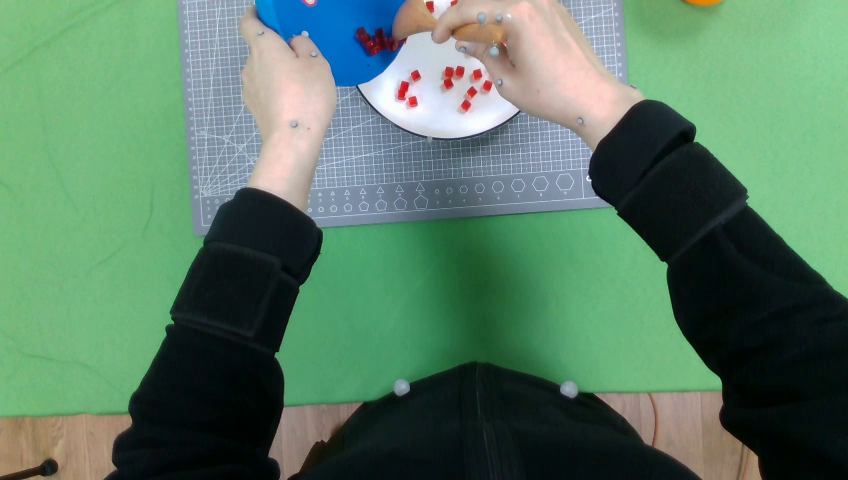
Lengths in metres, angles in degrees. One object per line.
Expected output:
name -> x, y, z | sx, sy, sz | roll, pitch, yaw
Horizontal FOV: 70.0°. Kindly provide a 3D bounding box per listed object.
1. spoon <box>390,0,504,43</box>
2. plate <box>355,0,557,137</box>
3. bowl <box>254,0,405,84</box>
spoon -> 0.013, -0.163, 0.453 | 0.022, 0.191, 0.041 | 24, 100, -34
plate -> 0.024, -0.204, 0.595 | 0.209, 0.038, 0.209 | 0, 91, 3
bowl -> -0.087, -0.212, 0.503 | 0.076, 0.153, 0.151 | 23, 92, 38
